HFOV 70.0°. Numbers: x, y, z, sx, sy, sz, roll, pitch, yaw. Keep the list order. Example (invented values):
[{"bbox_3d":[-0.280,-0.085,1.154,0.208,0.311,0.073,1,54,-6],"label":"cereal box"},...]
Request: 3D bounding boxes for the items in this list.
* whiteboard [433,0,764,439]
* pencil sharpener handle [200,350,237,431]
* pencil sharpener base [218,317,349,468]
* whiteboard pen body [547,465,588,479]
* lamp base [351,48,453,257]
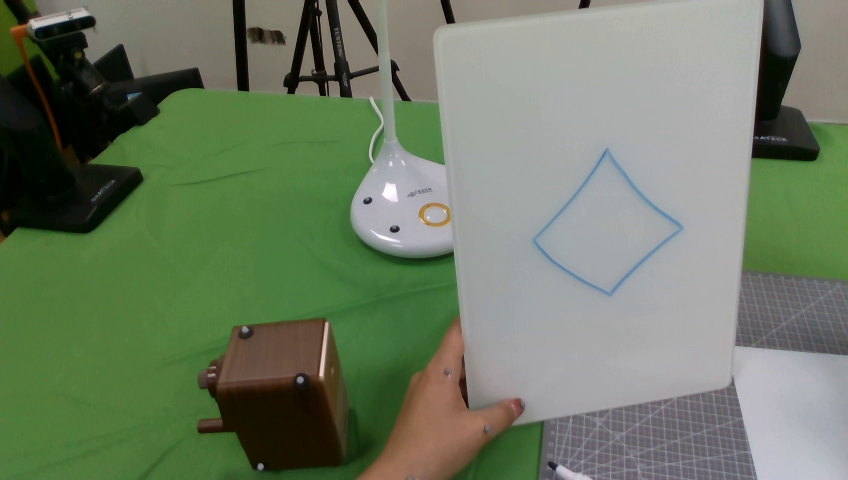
[{"bbox_3d":[0.121,-0.025,0.491,0.217,0.307,0.143,-8,21,-4],"label":"whiteboard"},{"bbox_3d":[-0.153,0.112,0.438,0.030,0.068,0.035,-5,27,0],"label":"pencil sharpener handle"},{"bbox_3d":[-0.101,0.116,0.449,0.077,0.108,0.060,-5,40,0],"label":"pencil sharpener base"},{"bbox_3d":[0.143,0.190,0.407,0.139,0.017,0.017,25,48,34],"label":"whiteboard pen body"},{"bbox_3d":[-0.015,-0.101,0.645,0.161,0.182,0.177,-26,42,-25],"label":"lamp base"}]
